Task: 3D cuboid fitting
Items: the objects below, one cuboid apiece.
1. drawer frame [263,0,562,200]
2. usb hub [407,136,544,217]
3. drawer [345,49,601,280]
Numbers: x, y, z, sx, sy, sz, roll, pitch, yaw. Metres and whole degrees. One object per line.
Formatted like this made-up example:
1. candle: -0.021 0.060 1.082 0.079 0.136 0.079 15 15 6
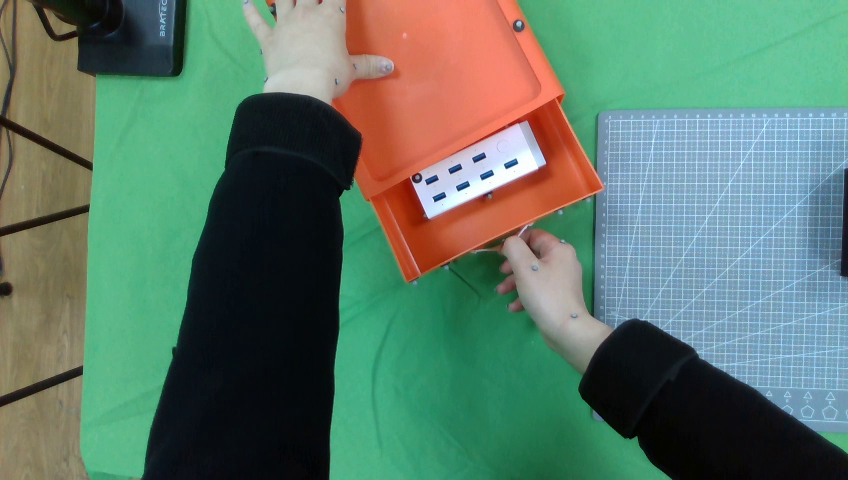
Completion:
1. drawer frame: -0.011 -0.173 0.567 0.201 0.083 0.213 -28 87 8
2. usb hub: 0.047 -0.061 0.580 0.125 0.025 0.049 -13 90 13
3. drawer: 0.028 -0.096 0.566 0.194 0.073 0.211 -25 88 8
